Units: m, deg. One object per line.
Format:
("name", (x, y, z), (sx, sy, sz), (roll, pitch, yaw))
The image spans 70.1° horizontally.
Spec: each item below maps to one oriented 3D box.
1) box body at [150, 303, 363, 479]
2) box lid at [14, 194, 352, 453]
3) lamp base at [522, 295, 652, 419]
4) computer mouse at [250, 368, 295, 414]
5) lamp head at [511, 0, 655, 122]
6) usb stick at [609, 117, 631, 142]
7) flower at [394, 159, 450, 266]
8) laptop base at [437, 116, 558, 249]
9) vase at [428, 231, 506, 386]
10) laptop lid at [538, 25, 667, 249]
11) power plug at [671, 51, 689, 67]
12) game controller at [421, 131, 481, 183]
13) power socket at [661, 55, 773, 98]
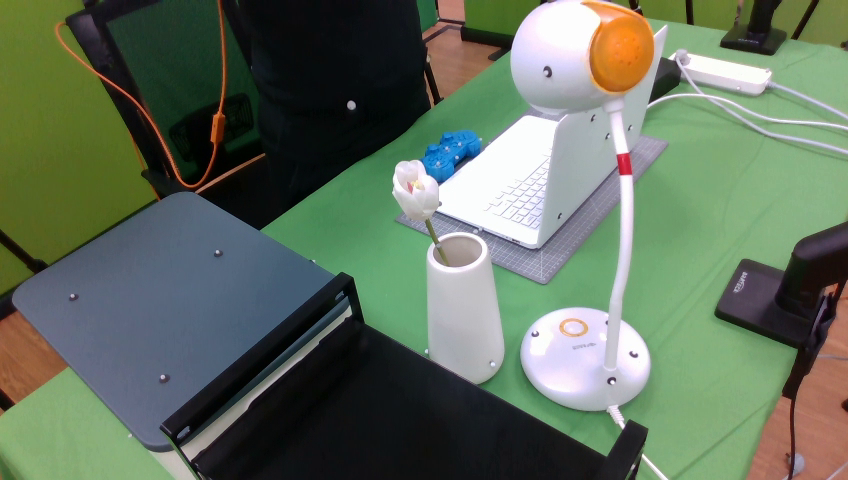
("box body", (-0.284, 0.123, 0.765), (0.361, 0.161, 0.255), (25, 49, 33))
("box lid", (-0.290, 0.067, 0.716), (0.368, 0.015, 0.264), (25, 50, 33))
("lamp base", (0.201, 0.095, 0.710), (0.161, 0.181, 0.177), (-16, 43, -10))
("computer mouse", (-0.196, 0.182, 0.771), (0.063, 0.041, 0.116), (-12, 47, -11))
("lamp head", (0.155, -0.168, 0.563), (0.113, 0.113, 0.122), (-18, 23, -12))
("usb stick", (0.369, -0.207, 1.147), (0.021, 0.027, 0.059), (25, 55, 33))
("flower", (0.028, 0.035, 0.665), (0.043, 0.364, 0.038), (35, 73, 29))
("laptop base", (0.193, -0.117, 1.087), (0.233, 0.023, 0.355), (21, 48, 34))
("vase", (0.050, 0.087, 0.728), (0.098, 0.201, 0.097), (-3, 40, 3))
("laptop lid", (0.282, -0.163, 0.942), (0.013, 0.242, 0.358), (28, 50, 27))
("power plug", (0.540, -0.379, 1.302), (0.073, 0.053, 0.035), (-31, 46, -23))
("game controller", (0.040, -0.163, 1.144), (0.096, 0.052, 0.155), (22, 49, 29))
("power socket", (0.619, -0.352, 1.289), (0.225, 0.033, 0.072), (26, 51, 33))
